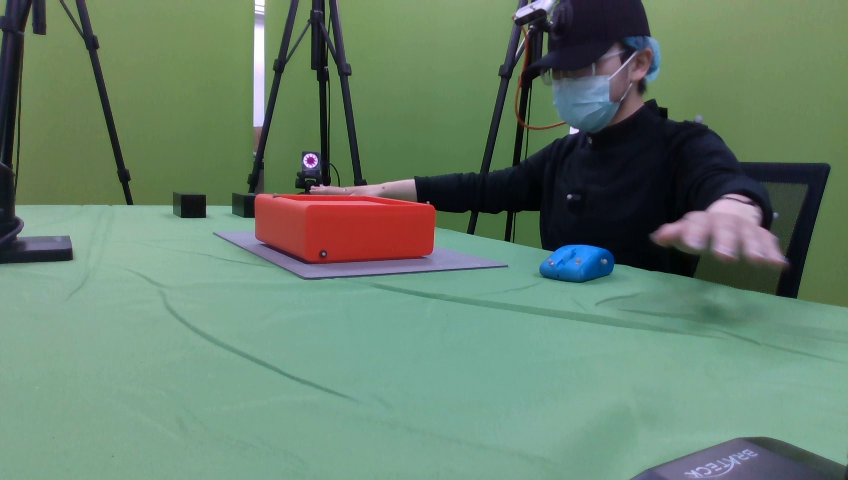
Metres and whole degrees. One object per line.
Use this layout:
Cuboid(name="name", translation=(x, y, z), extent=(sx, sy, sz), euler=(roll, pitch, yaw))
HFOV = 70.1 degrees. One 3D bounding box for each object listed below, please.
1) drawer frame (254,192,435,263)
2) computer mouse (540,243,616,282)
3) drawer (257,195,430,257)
Cuboid(name="drawer frame", translation=(-0.124, -0.026, 0.904), extent=(0.203, 0.082, 0.212), euler=(-1, 9, -33))
Cuboid(name="computer mouse", translation=(0.204, 0.028, 0.797), extent=(0.062, 0.041, 0.118), euler=(11, 15, 38))
Cuboid(name="drawer", translation=(-0.125, -0.025, 0.907), extent=(0.195, 0.073, 0.210), euler=(-1, 9, -32))
